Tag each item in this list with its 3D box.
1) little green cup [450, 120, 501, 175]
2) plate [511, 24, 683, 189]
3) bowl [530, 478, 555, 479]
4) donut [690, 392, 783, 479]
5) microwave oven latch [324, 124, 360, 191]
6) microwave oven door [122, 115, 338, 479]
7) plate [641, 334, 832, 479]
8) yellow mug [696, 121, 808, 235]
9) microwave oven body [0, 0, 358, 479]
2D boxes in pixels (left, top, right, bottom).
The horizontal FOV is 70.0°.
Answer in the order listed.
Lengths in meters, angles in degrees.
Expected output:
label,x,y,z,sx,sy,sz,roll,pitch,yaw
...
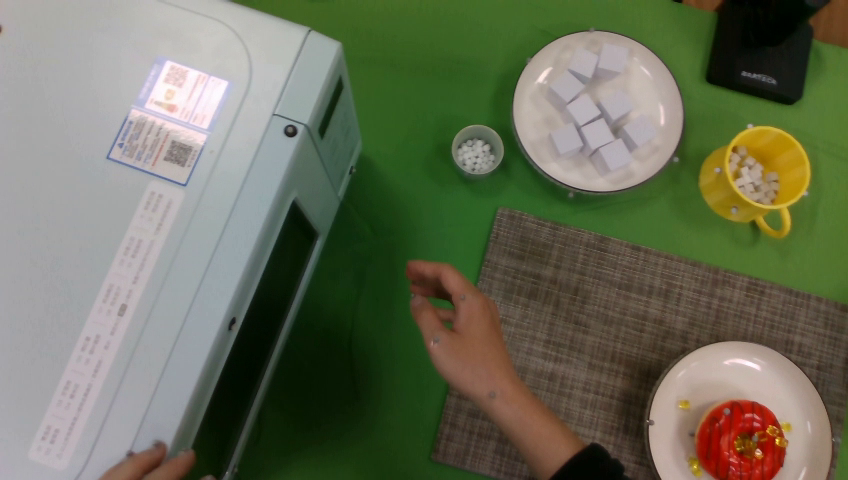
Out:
label,x,y,z,sx,sy,sz,roll,pitch,yaw
little green cup,0.059,-0.108,0.723,0.061,0.039,0.061,0,81,-3
plate,0.207,-0.160,0.740,0.208,0.039,0.207,0,80,-2
bowl,0.122,0.321,0.633,0.151,0.077,0.151,0,80,-1
donut,0.341,0.216,0.664,0.099,0.048,0.099,0,83,0
microwave oven latch,-0.099,-0.099,0.699,0.030,0.029,0.079,22,81,2
microwave oven door,-0.170,0.086,0.562,0.039,0.244,0.354,19,80,2
plate,0.341,0.209,0.676,0.209,0.038,0.208,0,81,-2
yellow mug,0.392,-0.068,0.716,0.100,0.064,0.130,-21,82,-5
microwave oven body,-0.294,0.000,0.577,0.326,0.261,0.440,19,81,1
